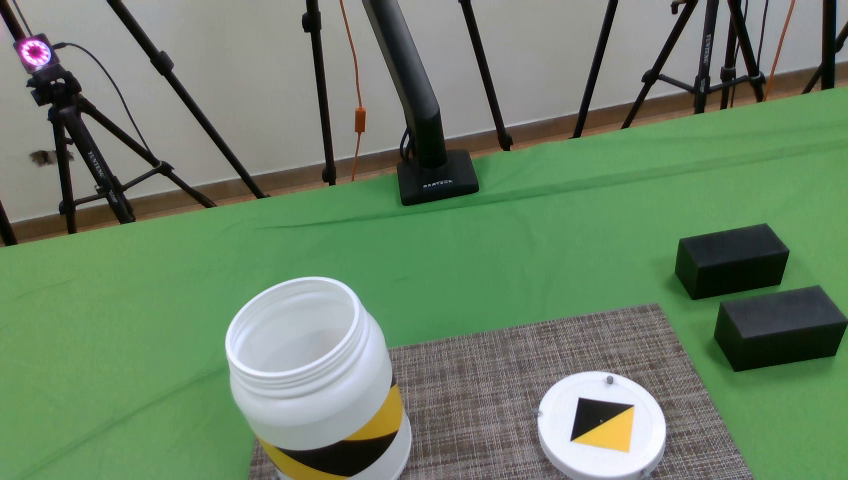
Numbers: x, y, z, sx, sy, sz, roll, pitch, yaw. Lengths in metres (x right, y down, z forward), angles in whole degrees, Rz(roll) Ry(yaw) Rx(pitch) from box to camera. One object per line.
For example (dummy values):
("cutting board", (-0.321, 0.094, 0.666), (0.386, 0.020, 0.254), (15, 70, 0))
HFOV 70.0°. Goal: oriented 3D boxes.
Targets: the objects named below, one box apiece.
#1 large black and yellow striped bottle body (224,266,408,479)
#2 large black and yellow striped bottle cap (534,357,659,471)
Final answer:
("large black and yellow striped bottle body", (-0.092, 0.125, 0.537), (0.130, 0.186, 0.129), (-7, 40, 6))
("large black and yellow striped bottle cap", (0.161, 0.160, 0.569), (0.115, 0.019, 0.114), (-6, 41, 6))
